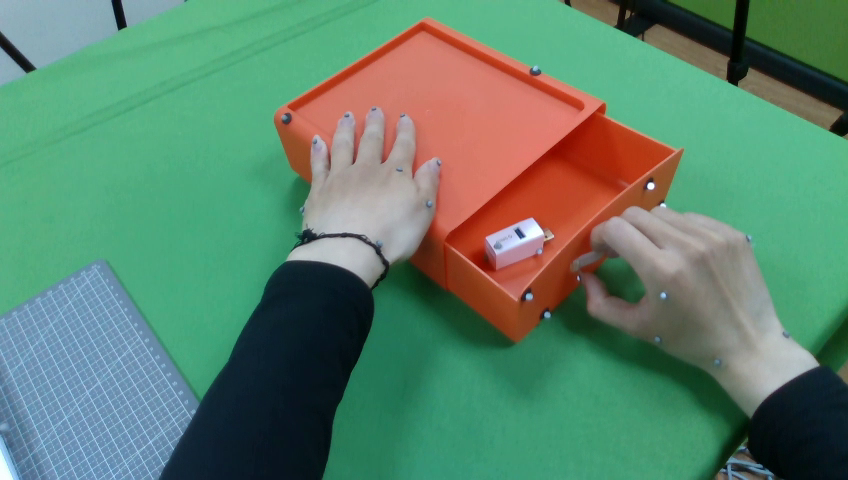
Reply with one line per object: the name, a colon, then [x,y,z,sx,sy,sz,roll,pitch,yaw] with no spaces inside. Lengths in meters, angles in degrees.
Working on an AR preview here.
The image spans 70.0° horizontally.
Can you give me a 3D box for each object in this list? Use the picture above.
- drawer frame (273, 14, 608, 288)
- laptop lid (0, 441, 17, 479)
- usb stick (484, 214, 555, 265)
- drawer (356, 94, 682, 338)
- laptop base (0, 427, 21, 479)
drawer frame: [0.014,-0.091,0.540,0.211,0.083,0.201,35,63,29]
laptop lid: [-0.422,0.234,0.349,0.356,0.013,0.239,-34,59,-20]
usb stick: [0.079,-0.003,0.491,0.059,0.027,0.021,-19,55,-13]
drawer: [0.065,-0.053,0.507,0.194,0.074,0.210,-39,58,-22]
laptop base: [-0.422,0.239,0.360,0.354,0.023,0.233,-36,61,-21]
